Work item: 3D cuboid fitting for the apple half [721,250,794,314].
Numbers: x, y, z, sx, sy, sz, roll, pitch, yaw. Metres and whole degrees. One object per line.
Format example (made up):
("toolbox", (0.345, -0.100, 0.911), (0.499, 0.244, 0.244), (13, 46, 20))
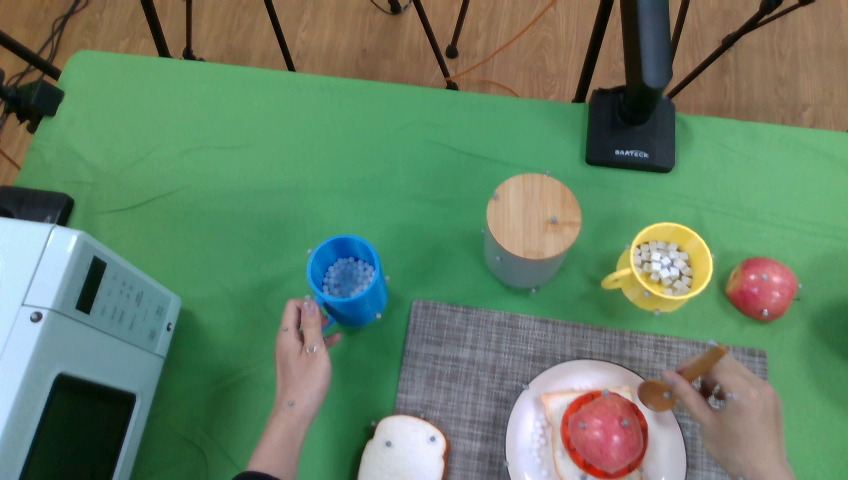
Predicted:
("apple half", (0.426, 0.047, 0.766), (0.074, 0.054, 0.080), (29, 74, 14))

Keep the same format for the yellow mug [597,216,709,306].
("yellow mug", (0.284, 0.032, 0.769), (0.131, 0.064, 0.099), (-15, 69, -3))

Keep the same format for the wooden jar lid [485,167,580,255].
("wooden jar lid", (0.123, -0.032, 0.698), (0.108, 0.021, 0.107), (-1, 68, 2))

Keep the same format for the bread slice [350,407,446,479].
("bread slice", (-0.033, 0.265, 0.717), (0.105, 0.019, 0.131), (15, 72, 6))

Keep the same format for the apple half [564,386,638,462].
("apple half", (0.195, 0.198, 0.654), (0.081, 0.033, 0.080), (-3, 69, 9))

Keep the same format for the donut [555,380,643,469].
("donut", (0.199, 0.209, 0.689), (0.099, 0.048, 0.098), (-1, 71, 2))

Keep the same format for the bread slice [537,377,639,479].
("bread slice", (0.197, 0.231, 0.709), (0.107, 0.018, 0.133), (-8, 74, -1))

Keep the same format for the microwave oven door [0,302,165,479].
("microwave oven door", (-0.373, 0.258, 0.593), (0.039, 0.245, 0.353), (8, 70, 5))

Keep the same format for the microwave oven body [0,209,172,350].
("microwave oven body", (-0.510, 0.201, 0.623), (0.326, 0.262, 0.439), (8, 71, 4))

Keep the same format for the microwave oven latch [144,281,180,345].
("microwave oven latch", (-0.333, 0.090, 0.760), (0.030, 0.030, 0.078), (12, 71, 6))

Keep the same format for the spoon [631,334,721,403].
("spoon", (0.253, 0.133, 0.611), (0.041, 0.195, 0.021), (40, 72, 17))

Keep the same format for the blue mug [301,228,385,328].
("blue mug", (-0.102, 0.056, 0.716), (0.082, 0.106, 0.116), (36, 73, 14))

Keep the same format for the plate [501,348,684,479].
("plate", (0.192, 0.233, 0.710), (0.207, 0.039, 0.206), (-1, 70, 2))

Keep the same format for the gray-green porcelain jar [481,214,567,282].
("gray-green porcelain jar", (0.126, -0.010, 0.757), (0.106, 0.127, 0.105), (0, 70, 2))
